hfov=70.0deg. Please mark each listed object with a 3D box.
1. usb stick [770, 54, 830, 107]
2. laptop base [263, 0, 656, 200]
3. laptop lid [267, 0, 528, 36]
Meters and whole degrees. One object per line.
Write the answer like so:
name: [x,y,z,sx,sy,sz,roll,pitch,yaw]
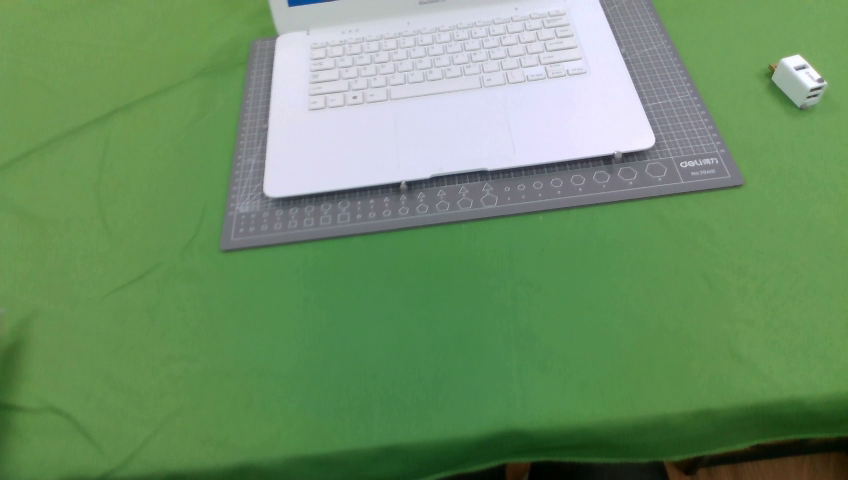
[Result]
usb stick: [0.346,-0.153,0.563,0.021,0.027,0.058,-16,52,-3]
laptop base: [0.022,-0.149,0.603,0.354,0.023,0.233,-7,57,1]
laptop lid: [-0.003,-0.337,0.600,0.357,0.244,0.013,-9,36,2]
